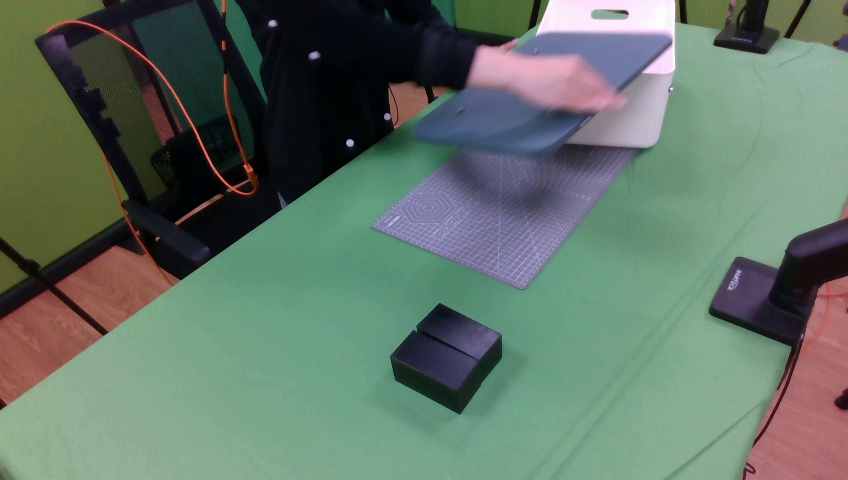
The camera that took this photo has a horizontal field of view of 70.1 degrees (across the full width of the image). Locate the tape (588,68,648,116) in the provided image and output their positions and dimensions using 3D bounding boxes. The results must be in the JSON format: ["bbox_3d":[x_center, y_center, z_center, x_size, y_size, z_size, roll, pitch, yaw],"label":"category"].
[{"bbox_3d":[0.396,-0.303,1.236,0.117,0.053,0.116,-4,41,4],"label":"tape"}]

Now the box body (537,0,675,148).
[{"bbox_3d":[0.356,-0.342,1.212,0.253,0.161,0.363,6,42,17],"label":"box body"}]

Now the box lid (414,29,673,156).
[{"bbox_3d":[0.181,-0.237,0.924,0.261,0.015,0.372,17,48,43],"label":"box lid"}]
